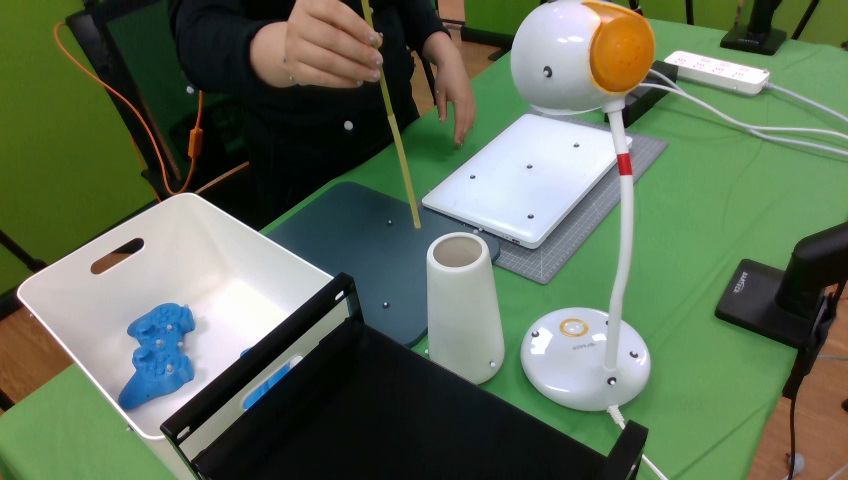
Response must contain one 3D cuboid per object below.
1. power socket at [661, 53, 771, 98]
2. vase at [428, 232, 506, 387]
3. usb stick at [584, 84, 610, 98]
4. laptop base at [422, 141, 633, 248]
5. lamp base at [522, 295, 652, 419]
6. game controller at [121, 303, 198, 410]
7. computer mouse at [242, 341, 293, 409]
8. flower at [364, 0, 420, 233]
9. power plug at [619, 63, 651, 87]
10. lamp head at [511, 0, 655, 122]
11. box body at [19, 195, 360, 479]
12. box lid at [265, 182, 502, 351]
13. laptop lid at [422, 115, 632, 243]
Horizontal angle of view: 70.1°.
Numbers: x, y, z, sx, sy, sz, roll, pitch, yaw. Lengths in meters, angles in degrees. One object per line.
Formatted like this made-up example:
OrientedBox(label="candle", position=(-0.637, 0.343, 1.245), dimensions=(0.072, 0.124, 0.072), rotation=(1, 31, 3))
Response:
OrientedBox(label="power socket", position=(0.617, -0.355, 1.292), dimensions=(0.225, 0.033, 0.072), rotation=(29, 53, 35))
OrientedBox(label="vase", position=(0.050, 0.087, 0.728), dimensions=(0.098, 0.201, 0.097), rotation=(-3, 40, 3))
OrientedBox(label="usb stick", position=(0.354, -0.307, 1.252), dimensions=(0.027, 0.021, 0.058), rotation=(-1, 3, -39))
OrientedBox(label="laptop base", position=(0.193, -0.117, 1.087), dimensions=(0.233, 0.023, 0.355), rotation=(21, 47, 34))
OrientedBox(label="lamp base", position=(0.201, 0.095, 0.709), dimensions=(0.161, 0.181, 0.178), rotation=(-16, 43, -10))
OrientedBox(label="game controller", position=(-0.364, 0.150, 0.828), dimensions=(0.097, 0.052, 0.154), rotation=(-14, 41, -9))
OrientedBox(label="computer mouse", position=(-0.200, 0.178, 0.776), dimensions=(0.063, 0.041, 0.116), rotation=(-11, 43, -8))
OrientedBox(label="flower", position=(-0.037, -0.151, 0.571), dimensions=(0.038, 0.363, 0.044), rotation=(10, 42, 25))
OrientedBox(label="power plug", position=(0.435, -0.341, 1.265), dimensions=(0.035, 0.053, 0.072), rotation=(6, 30, -14))
OrientedBox(label="lamp head", position=(0.155, -0.168, 0.563), dimensions=(0.113, 0.113, 0.122), rotation=(-18, 23, -12))
OrientedBox(label="box body", position=(-0.288, 0.118, 0.772), dimensions=(0.361, 0.161, 0.255), rotation=(26, 50, 33))
OrientedBox(label="box lid", position=(-0.087, 0.023, 0.971), dimensions=(0.368, 0.015, 0.264), rotation=(23, 49, 31))
OrientedBox(label="laptop lid", position=(0.189, -0.126, 1.081), dimensions=(0.239, 0.013, 0.358), rotation=(23, 49, 35))
